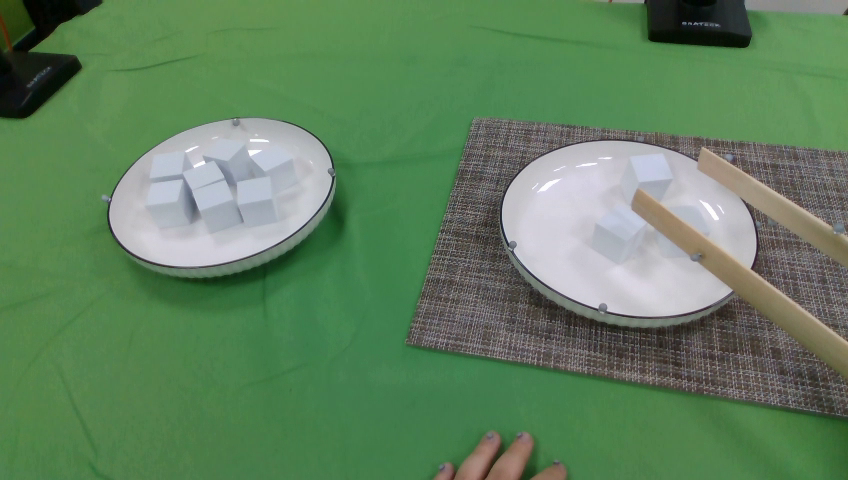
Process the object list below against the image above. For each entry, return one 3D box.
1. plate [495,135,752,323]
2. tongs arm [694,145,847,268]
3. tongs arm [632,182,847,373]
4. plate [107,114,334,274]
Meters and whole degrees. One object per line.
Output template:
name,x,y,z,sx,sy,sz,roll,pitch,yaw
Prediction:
plate,0.165,-0.011,0.521,0.207,0.039,0.205,-2,48,2
tongs arm,0.312,0.055,0.379,0.051,0.027,0.380,-30,53,-18
tongs arm,0.277,0.074,0.368,0.028,0.028,0.383,-29,53,-22
plate,-0.187,-0.044,0.579,0.209,0.038,0.207,-2,48,2
